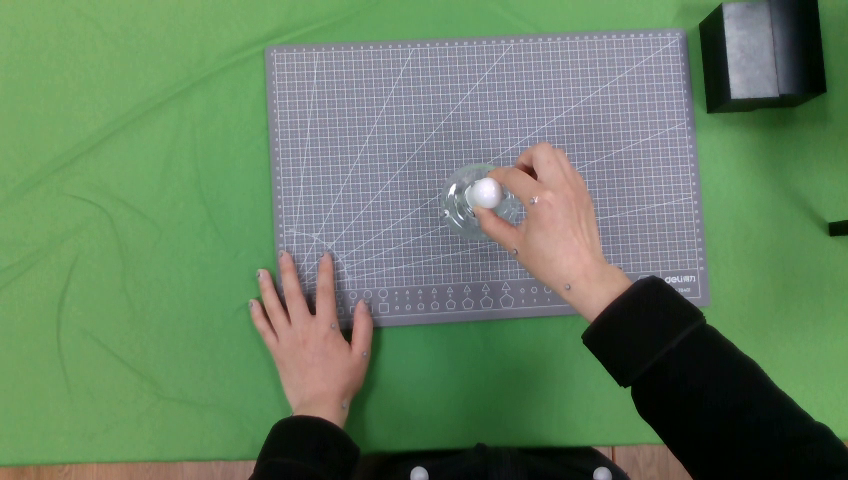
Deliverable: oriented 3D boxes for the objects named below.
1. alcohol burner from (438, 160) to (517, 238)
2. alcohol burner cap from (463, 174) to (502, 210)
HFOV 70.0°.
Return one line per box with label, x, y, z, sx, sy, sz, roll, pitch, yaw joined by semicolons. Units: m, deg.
alcohol burner;0.053;-0.041;0.579;0.078;0.119;0.078;0;87;-1
alcohol burner cap;0.054;-0.045;0.543;0.034;0.048;0.034;0;89;-5
